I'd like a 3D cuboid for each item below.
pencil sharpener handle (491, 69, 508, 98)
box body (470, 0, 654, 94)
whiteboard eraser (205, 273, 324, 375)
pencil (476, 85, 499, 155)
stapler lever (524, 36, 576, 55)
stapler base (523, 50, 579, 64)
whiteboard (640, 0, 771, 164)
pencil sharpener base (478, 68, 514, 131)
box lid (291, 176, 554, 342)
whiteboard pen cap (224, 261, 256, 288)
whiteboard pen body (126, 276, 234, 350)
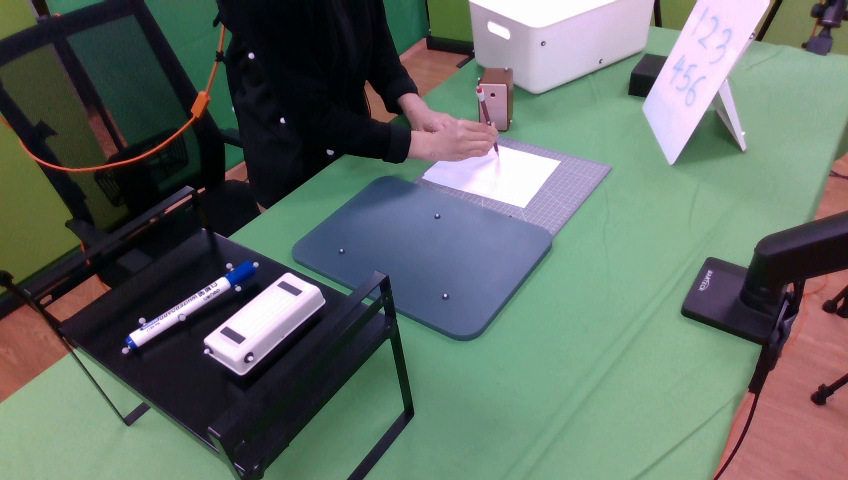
[{"bbox_3d":[0.155,-0.329,1.254,0.036,0.068,0.030,17,43,4],"label":"pencil sharpener handle"},{"bbox_3d":[0.319,-0.498,1.405,0.365,0.161,0.252,-26,43,-21],"label":"box body"},{"bbox_3d":[-0.157,0.084,0.605,0.055,0.042,0.113,24,49,30],"label":"whiteboard eraser"},{"bbox_3d":[0.116,-0.206,1.072,0.012,0.195,0.012,-8,60,14],"label":"pencil"},{"bbox_3d":[0.296,-0.456,1.418,0.117,0.040,0.027,4,40,17],"label":"stapler lever"},{"bbox_3d":[0.301,-0.436,1.434,0.130,0.024,0.041,5,40,17],"label":"stapler base"},{"bbox_3d":[0.543,-0.299,1.076,0.144,0.305,0.216,12,40,-7],"label":"whiteboard"},{"bbox_3d":[0.148,-0.286,1.225,0.061,0.107,0.076,5,41,15],"label":"pencil sharpener base"},{"bbox_3d":[-0.005,0.011,0.972,0.368,0.015,0.264,21,49,30],"label":"box lid"},{"bbox_3d":[-0.207,0.039,0.677,0.033,0.018,0.018,-35,47,-18],"label":"whiteboard pen cap"},{"bbox_3d":[-0.251,0.070,0.649,0.141,0.017,0.017,-36,48,-26],"label":"whiteboard pen body"}]
